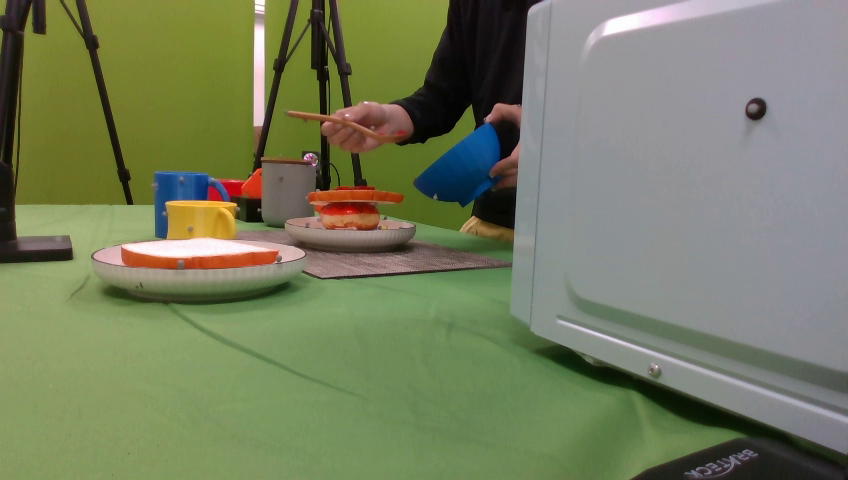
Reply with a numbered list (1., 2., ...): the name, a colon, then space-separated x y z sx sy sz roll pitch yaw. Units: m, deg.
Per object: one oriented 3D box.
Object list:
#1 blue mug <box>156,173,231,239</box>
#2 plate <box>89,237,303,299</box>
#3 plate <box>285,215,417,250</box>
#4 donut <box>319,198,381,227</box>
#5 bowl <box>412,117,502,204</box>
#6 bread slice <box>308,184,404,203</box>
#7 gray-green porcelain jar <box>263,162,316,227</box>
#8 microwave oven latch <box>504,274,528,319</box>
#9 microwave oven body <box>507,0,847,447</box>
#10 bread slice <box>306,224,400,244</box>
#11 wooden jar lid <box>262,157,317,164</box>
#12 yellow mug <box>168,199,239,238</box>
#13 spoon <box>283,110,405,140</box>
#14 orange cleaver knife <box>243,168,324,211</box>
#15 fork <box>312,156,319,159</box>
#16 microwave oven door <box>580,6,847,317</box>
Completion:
1. blue mug: -0.381 -0.057 1.004 0.117 0.106 0.082 0 8 -12
2. plate: -0.233 0.029 0.637 0.208 0.039 0.207 2 7 0
3. plate: -0.116 -0.014 0.964 0.209 0.038 0.209 2 7 0
4. donut: -0.117 -0.042 0.965 0.099 0.048 0.099 -9 -7 -1
5. bowl: 0.064 -0.106 0.910 0.151 0.077 0.151 -39 0 1
6. bread slice: -0.114 -0.072 0.954 0.134 0.018 0.107 -3 -1 21
7. gray-green porcelain jar: -0.271 -0.092 1.217 0.106 0.126 0.106 2 7 0
8. microwave oven latch: 0.100 0.041 0.471 0.079 0.029 0.030 -1 7 -28
9. microwave oven body: 0.331 -0.042 0.425 0.444 0.260 0.324 -2 8 -31
10. bread slice: -0.103 -0.010 0.962 0.131 0.019 0.105 4 9 24
11. wooden jar lid: -0.269 -0.154 1.208 0.108 0.020 0.108 3 4 0
12. yellow mug: -0.320 -0.023 0.904 0.130 0.064 0.100 9 11 36
13. spoon: -0.123 -0.179 0.923 0.193 0.021 0.041 16 11 8
14. orange cleaver knife: -0.300 -0.089 1.351 0.212 0.077 0.012 29 -9 -34
15. fork: -0.331 -0.144 1.506 0.207 0.018 0.028 -42 -20 22
16. microwave oven door: 0.295 -0.067 0.570 0.358 0.243 0.039 -3 9 -31
